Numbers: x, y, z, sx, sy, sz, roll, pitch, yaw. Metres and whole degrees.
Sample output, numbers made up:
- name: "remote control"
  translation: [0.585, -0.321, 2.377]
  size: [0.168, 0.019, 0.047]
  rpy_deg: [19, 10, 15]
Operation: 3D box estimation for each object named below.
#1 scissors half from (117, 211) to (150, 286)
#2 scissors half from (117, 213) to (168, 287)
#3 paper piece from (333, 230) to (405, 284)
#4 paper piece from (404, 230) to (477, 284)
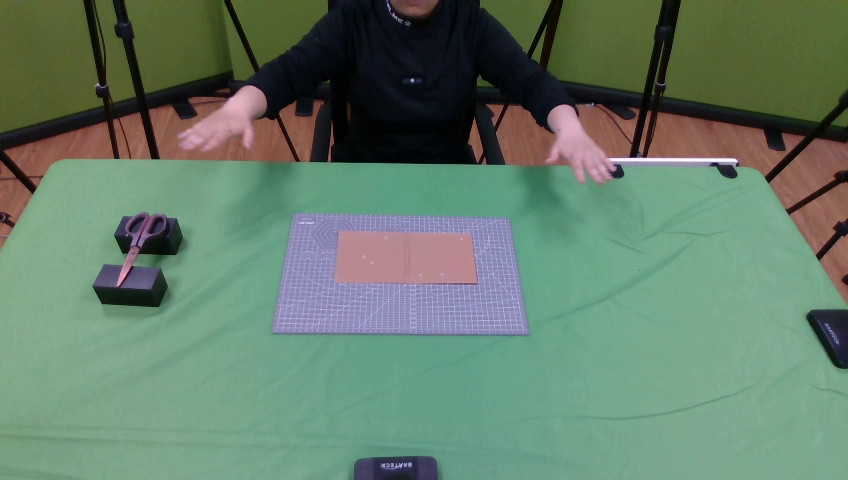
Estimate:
- name: "scissors half"
  translation: [-0.524, 0.013, 1.080]
  size: [0.040, 0.013, 0.174]
  rpy_deg: [2, 48, -12]
- name: "scissors half"
  translation: [-0.504, 0.015, 1.082]
  size: [0.040, 0.013, 0.174]
  rpy_deg: [11, 48, 3]
- name: "paper piece"
  translation: [-0.104, 0.031, 1.165]
  size: [0.135, 0.004, 0.135]
  rpy_deg: [2, 47, -4]
- name: "paper piece"
  translation: [0.030, 0.033, 1.174]
  size: [0.138, 0.009, 0.135]
  rpy_deg: [2, 49, -3]
